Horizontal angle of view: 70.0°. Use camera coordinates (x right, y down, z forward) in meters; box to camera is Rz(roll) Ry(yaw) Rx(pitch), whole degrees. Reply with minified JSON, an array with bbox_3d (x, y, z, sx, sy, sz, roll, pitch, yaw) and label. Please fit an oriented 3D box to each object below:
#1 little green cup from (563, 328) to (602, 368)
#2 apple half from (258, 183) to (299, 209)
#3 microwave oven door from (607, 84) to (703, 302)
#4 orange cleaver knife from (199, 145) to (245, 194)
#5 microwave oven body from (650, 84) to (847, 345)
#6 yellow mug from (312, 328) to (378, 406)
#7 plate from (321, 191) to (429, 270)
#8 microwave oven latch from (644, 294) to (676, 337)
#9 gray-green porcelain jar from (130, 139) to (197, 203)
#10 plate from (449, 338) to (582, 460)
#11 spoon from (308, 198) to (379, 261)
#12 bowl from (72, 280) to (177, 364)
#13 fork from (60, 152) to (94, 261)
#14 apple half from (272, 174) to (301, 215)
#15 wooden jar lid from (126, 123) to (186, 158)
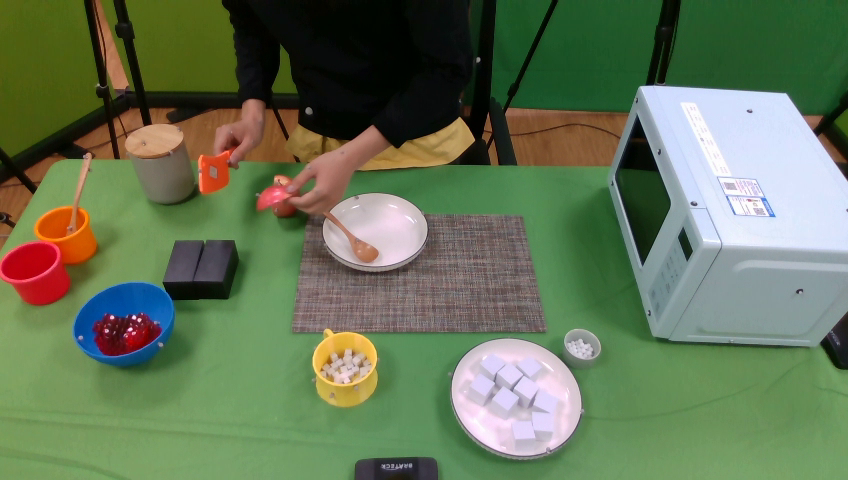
[{"bbox_3d":[0.266,0.185,1.025,0.061,0.039,0.061,1,45,-1],"label":"little green cup"},{"bbox_3d":[-0.271,-0.088,1.113,0.081,0.033,0.081,-25,12,6],"label":"apple half"},{"bbox_3d":[0.423,-0.096,1.137,0.039,0.245,0.353,3,46,-1],"label":"microwave oven door"},{"bbox_3d":[-0.387,-0.139,1.165,0.012,0.077,0.210,3,19,4],"label":"orange cleaver knife"},{"bbox_3d":[0.569,-0.054,1.116,0.326,0.261,0.439,2,46,-1],"label":"microwave oven body"},{"bbox_3d":[-0.132,0.193,0.971,0.100,0.064,0.130,-22,51,-22],"label":"yellow mug"},{"bbox_3d":[-0.094,-0.015,1.185,0.209,0.038,0.208,2,46,-2],"label":"plate"},{"bbox_3d":[0.411,0.132,1.061,0.030,0.029,0.078,1,46,-2],"label":"microwave oven latch"},{"bbox_3d":[-0.522,-0.147,1.225,0.106,0.127,0.105,2,47,-2],"label":"gray-green porcelain jar"},{"bbox_3d":[0.141,0.251,0.956,0.208,0.039,0.206,2,46,-2],"label":"plate"},{"bbox_3d":[-0.159,-0.025,1.172,0.041,0.022,0.193,-38,71,-26],"label":"spoon"},{"bbox_3d":[-0.473,0.147,0.982,0.151,0.077,0.150,2,46,-2],"label":"bowl"},{"bbox_3d":[-0.638,-0.063,1.119,0.028,0.018,0.207,12,90,8],"label":"fork"},{"bbox_3d":[-0.276,-0.090,1.225,0.053,0.075,0.080,1,43,-8],"label":"apple half"},{"bbox_3d":[-0.519,-0.190,1.179,0.108,0.021,0.107,2,44,-2],"label":"wooden jar lid"}]
